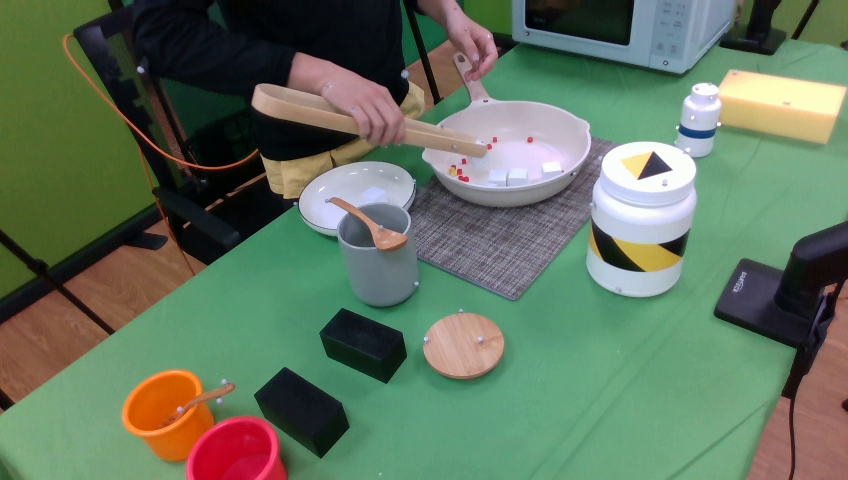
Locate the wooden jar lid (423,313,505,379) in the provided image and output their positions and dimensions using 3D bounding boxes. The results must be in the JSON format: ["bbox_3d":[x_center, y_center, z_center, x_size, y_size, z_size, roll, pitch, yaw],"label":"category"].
[{"bbox_3d":[0.053,0.142,0.800,0.108,0.021,0.108,-5,39,4],"label":"wooden jar lid"}]

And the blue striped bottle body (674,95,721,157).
[{"bbox_3d":[0.486,-0.213,1.072,0.063,0.121,0.063,-4,41,4],"label":"blue striped bottle body"}]

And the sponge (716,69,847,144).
[{"bbox_3d":[0.663,-0.256,1.142,0.205,0.061,0.118,19,47,28],"label":"sponge"}]

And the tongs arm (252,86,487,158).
[{"bbox_3d":[-0.062,-0.170,0.916,0.391,0.028,0.028,7,36,-32],"label":"tongs arm"}]

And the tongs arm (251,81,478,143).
[{"bbox_3d":[-0.072,-0.184,0.933,0.388,0.026,0.050,10,31,-29],"label":"tongs arm"}]

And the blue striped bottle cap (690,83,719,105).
[{"bbox_3d":[0.481,-0.251,1.038,0.044,0.021,0.044,-5,40,5],"label":"blue striped bottle cap"}]

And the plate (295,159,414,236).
[{"bbox_3d":[-0.118,-0.070,1.055,0.207,0.039,0.206,-5,40,5],"label":"plate"}]

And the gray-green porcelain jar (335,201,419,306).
[{"bbox_3d":[-0.064,0.024,0.872,0.106,0.127,0.105,-4,41,4],"label":"gray-green porcelain jar"}]

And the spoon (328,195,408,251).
[{"bbox_3d":[-0.083,-0.029,0.829,0.042,0.022,0.192,-31,42,-22],"label":"spoon"}]

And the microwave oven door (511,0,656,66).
[{"bbox_3d":[0.350,-0.539,1.349,0.353,0.245,0.039,24,50,31],"label":"microwave oven door"}]

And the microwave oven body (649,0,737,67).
[{"bbox_3d":[0.475,-0.602,1.411,0.438,0.261,0.327,23,50,32],"label":"microwave oven body"}]

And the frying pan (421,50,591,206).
[{"bbox_3d":[0.127,-0.233,1.155,0.307,0.103,0.484,-10,49,-5],"label":"frying pan"}]

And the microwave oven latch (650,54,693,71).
[{"bbox_3d":[0.531,-0.386,1.301,0.078,0.029,0.030,26,51,33],"label":"microwave oven latch"}]

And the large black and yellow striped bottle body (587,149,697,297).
[{"bbox_3d":[0.298,-0.026,0.835,0.131,0.185,0.130,-4,41,4],"label":"large black and yellow striped bottle body"}]

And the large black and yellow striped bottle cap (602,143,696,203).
[{"bbox_3d":[0.289,-0.088,0.779,0.115,0.019,0.114,-5,39,4],"label":"large black and yellow striped bottle cap"}]

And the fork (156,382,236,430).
[{"bbox_3d":[-0.262,0.189,0.690,0.018,0.206,0.028,49,43,-6],"label":"fork"}]
